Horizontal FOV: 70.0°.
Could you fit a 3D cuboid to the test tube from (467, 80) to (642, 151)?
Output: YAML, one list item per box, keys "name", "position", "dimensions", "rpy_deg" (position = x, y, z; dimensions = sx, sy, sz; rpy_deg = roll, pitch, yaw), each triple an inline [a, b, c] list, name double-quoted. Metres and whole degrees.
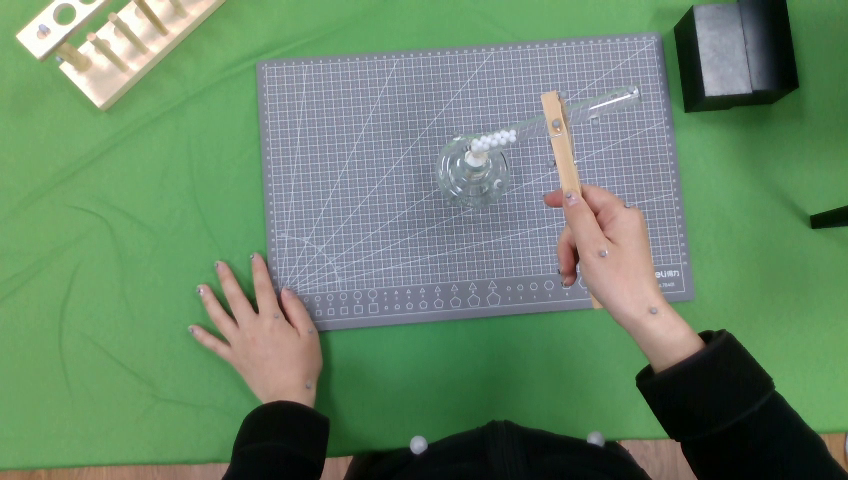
- name: "test tube"
  position: [0.103, -0.100, 0.500]
  dimensions: [0.150, 0.017, 0.017]
  rpy_deg: [-14, 83, 29]

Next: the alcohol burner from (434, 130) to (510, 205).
- name: "alcohol burner"
  position: [0.048, -0.076, 0.601]
  dimensions: [0.078, 0.119, 0.077]
  rpy_deg: [0, 82, 1]

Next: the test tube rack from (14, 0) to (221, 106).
- name: "test tube rack"
  position: [-0.285, -0.257, 0.629]
  dimensions: [0.242, 0.085, 0.066]
  rpy_deg: [-45, 86, -5]

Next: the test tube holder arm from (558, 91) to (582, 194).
- name: "test tube holder arm"
  position: [0.115, -0.079, 0.498]
  dimensions: [0.015, 0.010, 0.087]
  rpy_deg: [-14, 77, 28]

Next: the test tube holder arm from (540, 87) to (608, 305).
- name: "test tube holder arm"
  position: [0.121, -0.035, 0.488]
  dimensions: [0.015, 0.013, 0.178]
  rpy_deg: [-14, 86, 29]
